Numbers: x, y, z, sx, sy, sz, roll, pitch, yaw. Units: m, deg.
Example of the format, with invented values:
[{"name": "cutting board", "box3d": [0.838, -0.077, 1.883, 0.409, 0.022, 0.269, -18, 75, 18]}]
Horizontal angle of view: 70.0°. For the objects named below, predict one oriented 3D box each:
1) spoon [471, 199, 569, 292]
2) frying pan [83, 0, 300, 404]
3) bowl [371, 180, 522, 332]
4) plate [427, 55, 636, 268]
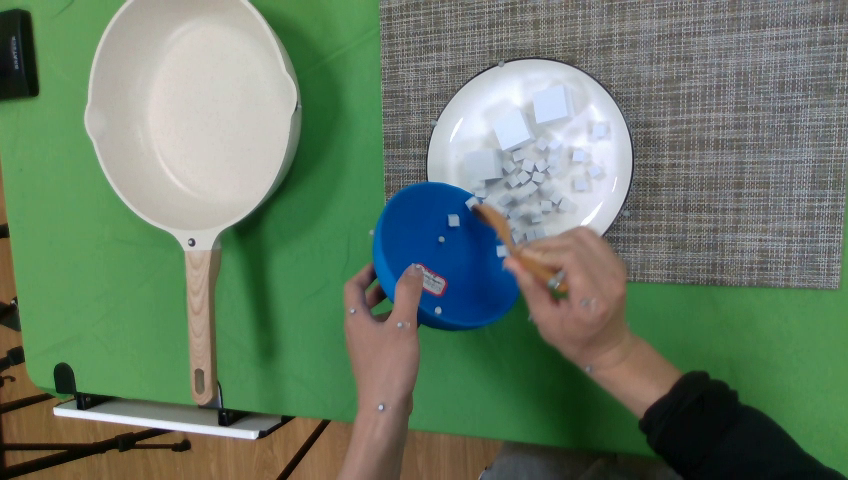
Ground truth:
[{"name": "spoon", "box3d": [0.076, 0.003, 0.504, 0.021, 0.192, 0.042, -43, 114, 8]}, {"name": "frying pan", "box3d": [-0.269, -0.050, 0.724, 0.305, 0.103, 0.487, -1, 89, 21]}, {"name": "bowl", "box3d": [0.010, 0.027, 0.579, 0.151, 0.151, 0.077, 52, 140, 7]}, {"name": "plate", "box3d": [0.106, -0.077, 0.612, 0.207, 0.039, 0.208, 3, 98, 20]}]
